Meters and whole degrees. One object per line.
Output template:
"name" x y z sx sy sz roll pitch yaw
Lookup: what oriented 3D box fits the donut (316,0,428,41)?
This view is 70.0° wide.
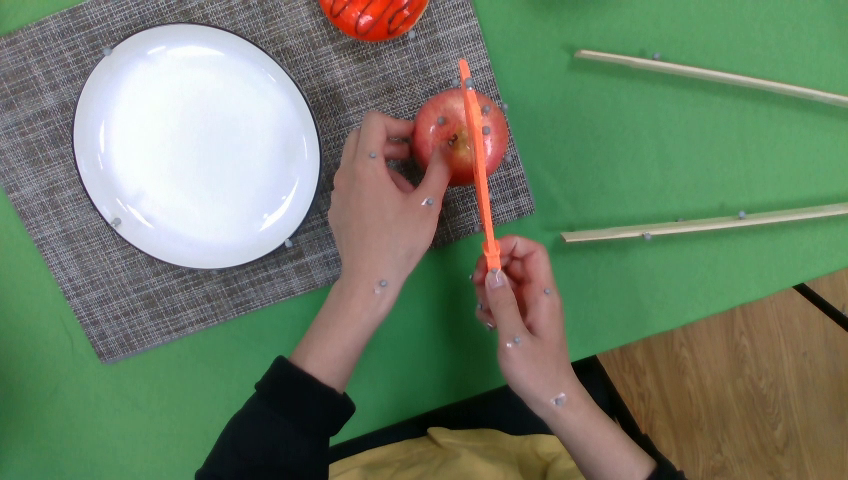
"donut" -0.043 -0.212 0.488 0.099 0.048 0.099 0 107 0

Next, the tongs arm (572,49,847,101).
"tongs arm" 0.319 -0.126 0.533 0.388 0.027 0.028 9 98 -5

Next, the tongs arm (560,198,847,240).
"tongs arm" 0.318 -0.042 0.555 0.385 0.026 0.051 -5 102 -1

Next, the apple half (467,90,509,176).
"apple half" 0.054 -0.092 0.508 0.033 0.081 0.081 -8 105 6

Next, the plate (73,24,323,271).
"plate" -0.190 -0.077 0.526 0.209 0.038 0.210 0 106 -1

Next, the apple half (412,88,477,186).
"apple half" 0.017 -0.085 0.511 0.053 0.074 0.081 -8 109 9

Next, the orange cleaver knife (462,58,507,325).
"orange cleaver knife" 0.046 -0.029 0.465 0.012 0.076 0.213 -8 124 4
